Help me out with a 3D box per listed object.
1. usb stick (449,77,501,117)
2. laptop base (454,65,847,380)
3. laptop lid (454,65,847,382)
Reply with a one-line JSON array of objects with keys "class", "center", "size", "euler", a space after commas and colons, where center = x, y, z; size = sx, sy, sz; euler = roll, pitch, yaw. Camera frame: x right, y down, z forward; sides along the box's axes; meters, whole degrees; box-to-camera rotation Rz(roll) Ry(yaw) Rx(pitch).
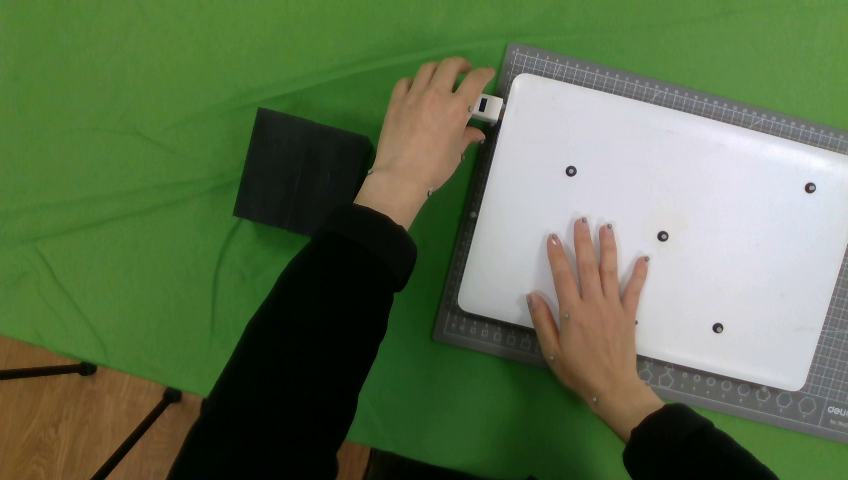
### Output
[{"class": "usb stick", "center": [0.054, -0.132, 0.569], "size": [0.059, 0.027, 0.021], "euler": [17, 87, -1]}, {"class": "laptop base", "center": [0.225, -0.014, 0.592], "size": [0.355, 0.023, 0.236], "euler": [14, 96, -2]}, {"class": "laptop lid", "center": [0.224, -0.011, 0.580], "size": [0.357, 0.013, 0.242], "euler": [15, 96, -2]}]
